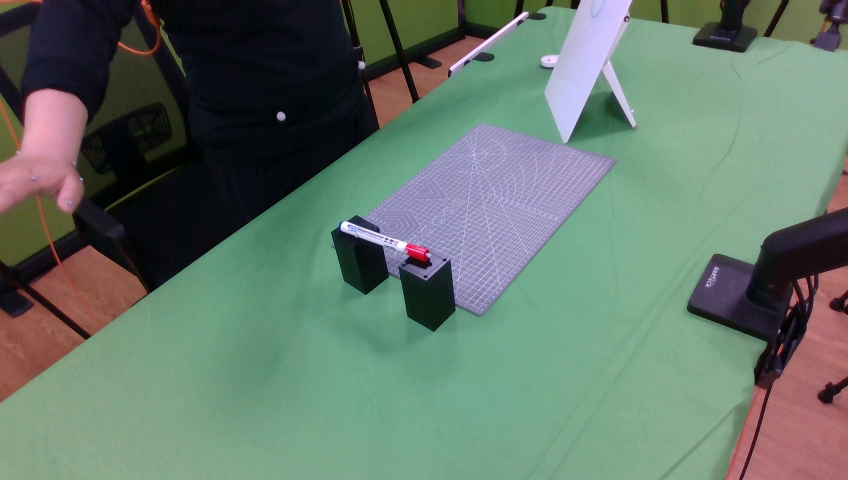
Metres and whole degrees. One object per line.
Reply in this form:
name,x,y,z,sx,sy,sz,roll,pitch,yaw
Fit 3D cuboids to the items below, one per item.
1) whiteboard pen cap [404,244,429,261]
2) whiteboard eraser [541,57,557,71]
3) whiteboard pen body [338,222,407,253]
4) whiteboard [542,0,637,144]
whiteboard pen cap,-0.010,0.015,0.801,0.032,0.017,0.017,17,46,29
whiteboard eraser,0.323,-0.412,1.408,0.101,0.019,0.041,1,42,11
whiteboard pen body,-0.061,-0.001,0.828,0.139,0.017,0.017,18,46,28
whiteboard,0.366,-0.351,1.160,0.144,0.305,0.216,10,39,-10
